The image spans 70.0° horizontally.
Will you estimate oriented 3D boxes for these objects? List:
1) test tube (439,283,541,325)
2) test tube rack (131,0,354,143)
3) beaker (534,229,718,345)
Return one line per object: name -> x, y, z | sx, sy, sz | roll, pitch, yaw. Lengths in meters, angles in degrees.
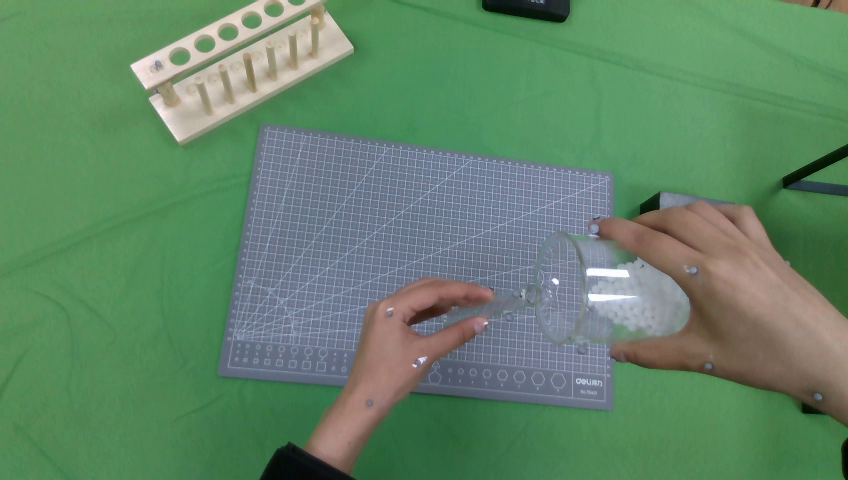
test tube -> 0.048, 0.055, 0.496 | 0.017, 0.150, 0.017 | 6, 74, -23
test tube rack -> -0.199, -0.214, 0.705 | 0.242, 0.085, 0.066 | -34, 83, -16
beaker -> 0.132, 0.034, 0.405 | 0.100, 0.084, 0.073 | 3, 79, -14
